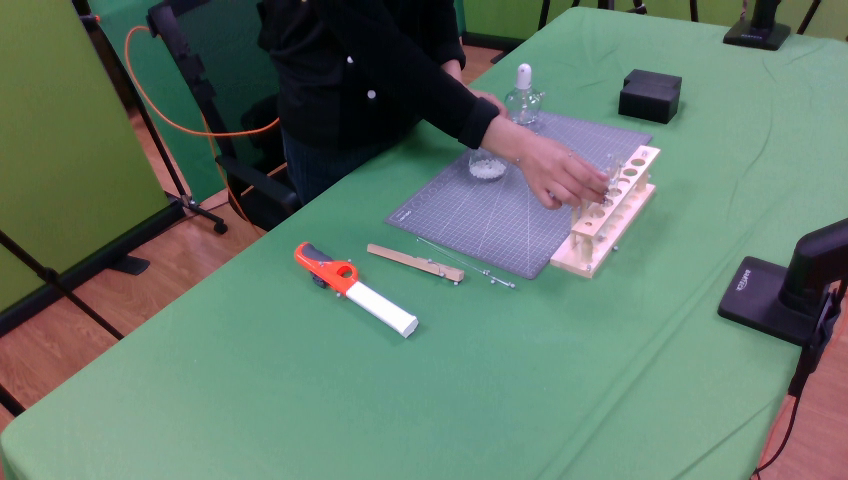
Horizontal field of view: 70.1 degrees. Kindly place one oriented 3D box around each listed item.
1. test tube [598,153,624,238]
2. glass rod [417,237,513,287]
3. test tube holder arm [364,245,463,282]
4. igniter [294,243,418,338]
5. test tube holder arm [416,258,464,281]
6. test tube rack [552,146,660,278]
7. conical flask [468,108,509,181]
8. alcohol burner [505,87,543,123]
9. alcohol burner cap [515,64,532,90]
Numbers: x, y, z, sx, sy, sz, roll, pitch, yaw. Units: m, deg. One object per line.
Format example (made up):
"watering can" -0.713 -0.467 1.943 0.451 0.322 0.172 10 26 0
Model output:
"test tube" 0.270 -0.061 0.877 0.017 0.151 0.017 -2 42 2
"glass rod" 0.059 0.032 0.945 0.198 0.008 0.008 26 52 38
"test tube holder arm" -0.020 0.035 0.947 0.177 0.015 0.013 16 9 26
"igniter" -0.113 0.070 0.919 0.274 0.025 0.057 29 63 37
"test tube holder arm" 0.022 0.045 0.931 0.087 0.015 0.010 16 9 27
"test tube rack" 0.286 -0.053 0.943 0.066 0.085 0.243 21 49 32
"conical flask" 0.112 -0.174 1.086 0.075 0.122 0.075 -6 40 5
"alcohol burner" 0.202 -0.298 1.222 0.078 0.119 0.077 -4 39 4
"alcohol burner cap" 0.199 -0.325 1.198 0.034 0.048 0.033 0 46 0
